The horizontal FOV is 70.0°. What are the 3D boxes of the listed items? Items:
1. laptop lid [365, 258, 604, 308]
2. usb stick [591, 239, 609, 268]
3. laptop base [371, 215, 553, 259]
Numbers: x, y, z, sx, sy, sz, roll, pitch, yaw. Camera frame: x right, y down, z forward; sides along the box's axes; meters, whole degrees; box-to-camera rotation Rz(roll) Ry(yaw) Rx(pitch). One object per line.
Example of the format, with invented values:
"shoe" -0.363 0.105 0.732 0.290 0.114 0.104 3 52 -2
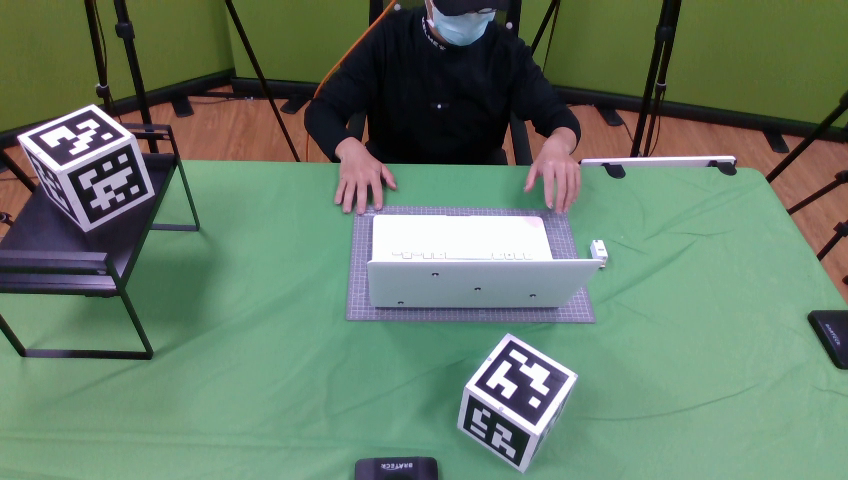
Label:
"laptop lid" 0.085 0.074 0.978 0.357 0.242 0.013 1 67 -5
"usb stick" 0.347 0.028 1.188 0.021 0.027 0.059 4 48 -6
"laptop base" 0.075 0.037 1.167 0.355 0.023 0.234 0 43 -4
